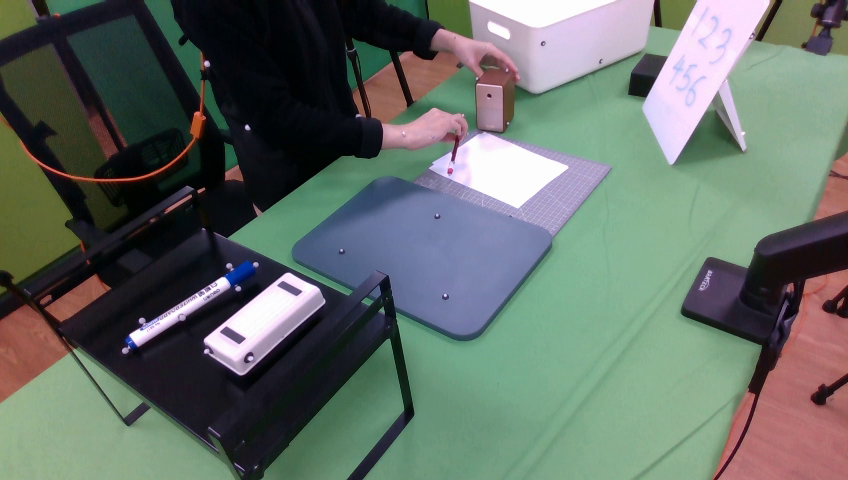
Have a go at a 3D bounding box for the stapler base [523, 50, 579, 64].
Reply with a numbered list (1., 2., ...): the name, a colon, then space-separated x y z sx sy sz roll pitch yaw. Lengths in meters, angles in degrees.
1. stapler base: 0.301 -0.436 1.434 0.130 0.024 0.041 5 40 17

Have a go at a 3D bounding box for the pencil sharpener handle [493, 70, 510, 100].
1. pencil sharpener handle: 0.164 -0.325 1.249 0.036 0.068 0.030 15 45 18

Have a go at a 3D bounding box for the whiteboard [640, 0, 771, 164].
1. whiteboard: 0.543 -0.299 1.076 0.144 0.305 0.216 12 40 -7

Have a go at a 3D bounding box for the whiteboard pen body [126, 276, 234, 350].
1. whiteboard pen body: -0.251 0.070 0.649 0.141 0.017 0.017 -36 48 -26

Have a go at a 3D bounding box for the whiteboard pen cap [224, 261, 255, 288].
1. whiteboard pen cap: -0.207 0.039 0.677 0.033 0.018 0.018 -36 47 -18

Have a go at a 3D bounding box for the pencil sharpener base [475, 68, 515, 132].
1. pencil sharpener base: 0.146 -0.284 1.222 0.061 0.107 0.077 11 43 22

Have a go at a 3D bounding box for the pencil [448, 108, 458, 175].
1. pencil: 0.056 -0.188 1.124 0.012 0.012 0.193 0 48 8

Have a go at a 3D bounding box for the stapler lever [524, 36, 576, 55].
1. stapler lever: 0.296 -0.456 1.418 0.117 0.040 0.027 4 40 17

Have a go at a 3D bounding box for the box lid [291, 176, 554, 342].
1. box lid: -0.005 0.011 0.971 0.368 0.015 0.264 21 49 30

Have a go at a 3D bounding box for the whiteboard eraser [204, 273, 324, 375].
1. whiteboard eraser: -0.157 0.084 0.605 0.055 0.042 0.113 24 49 30

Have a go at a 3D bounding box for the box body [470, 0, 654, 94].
1. box body: 0.319 -0.498 1.405 0.365 0.161 0.252 -26 43 -21
